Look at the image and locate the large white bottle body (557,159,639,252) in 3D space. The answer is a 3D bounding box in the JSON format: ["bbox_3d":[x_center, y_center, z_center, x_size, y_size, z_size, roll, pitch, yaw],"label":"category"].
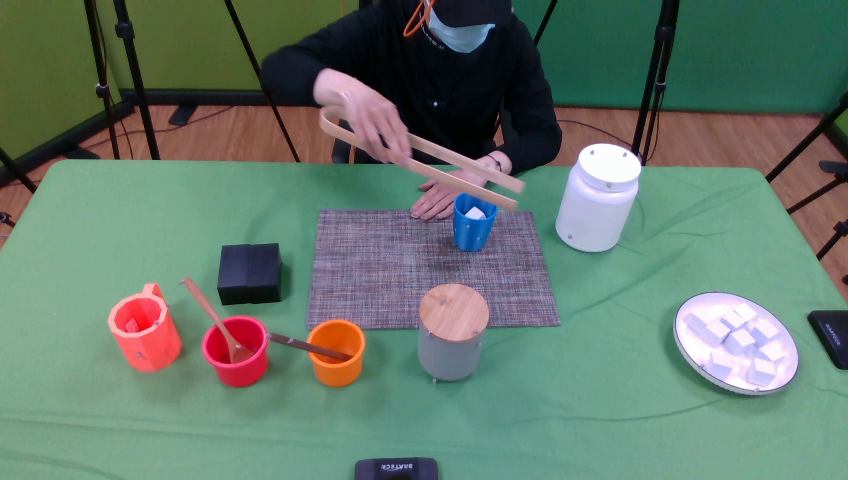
[{"bbox_3d":[0.340,-0.081,1.185,0.131,0.185,0.130,2,46,-1],"label":"large white bottle body"}]

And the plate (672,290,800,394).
[{"bbox_3d":[0.533,0.179,1.050,0.208,0.039,0.206,2,46,-2],"label":"plate"}]

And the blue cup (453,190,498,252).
[{"bbox_3d":[0.093,-0.032,1.173,0.093,0.101,0.092,3,46,-3],"label":"blue cup"}]

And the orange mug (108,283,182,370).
[{"bbox_3d":[-0.445,0.134,0.983,0.083,0.101,0.125,-1,50,-5],"label":"orange mug"}]

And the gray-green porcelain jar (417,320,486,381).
[{"bbox_3d":[0.042,0.158,0.975,0.106,0.127,0.105,2,46,-2],"label":"gray-green porcelain jar"}]

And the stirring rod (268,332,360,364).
[{"bbox_3d":[-0.167,0.169,0.942,0.177,0.006,0.014,26,28,-41],"label":"stirring rod"}]

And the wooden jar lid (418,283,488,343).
[{"bbox_3d":[0.045,0.114,0.931,0.108,0.021,0.107,2,49,-2],"label":"wooden jar lid"}]

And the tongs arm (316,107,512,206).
[{"bbox_3d":[-0.026,-0.146,1.068,0.387,0.028,0.028,24,50,7],"label":"tongs arm"}]

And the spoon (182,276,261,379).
[{"bbox_3d":[-0.321,0.137,0.957,0.041,0.021,0.194,-36,102,-32],"label":"spoon"}]

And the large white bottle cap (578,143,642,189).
[{"bbox_3d":[0.344,-0.139,1.123,0.115,0.018,0.114,2,46,-2],"label":"large white bottle cap"}]

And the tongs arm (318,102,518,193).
[{"bbox_3d":[-0.015,-0.164,1.089,0.384,0.026,0.050,26,46,9],"label":"tongs arm"}]
